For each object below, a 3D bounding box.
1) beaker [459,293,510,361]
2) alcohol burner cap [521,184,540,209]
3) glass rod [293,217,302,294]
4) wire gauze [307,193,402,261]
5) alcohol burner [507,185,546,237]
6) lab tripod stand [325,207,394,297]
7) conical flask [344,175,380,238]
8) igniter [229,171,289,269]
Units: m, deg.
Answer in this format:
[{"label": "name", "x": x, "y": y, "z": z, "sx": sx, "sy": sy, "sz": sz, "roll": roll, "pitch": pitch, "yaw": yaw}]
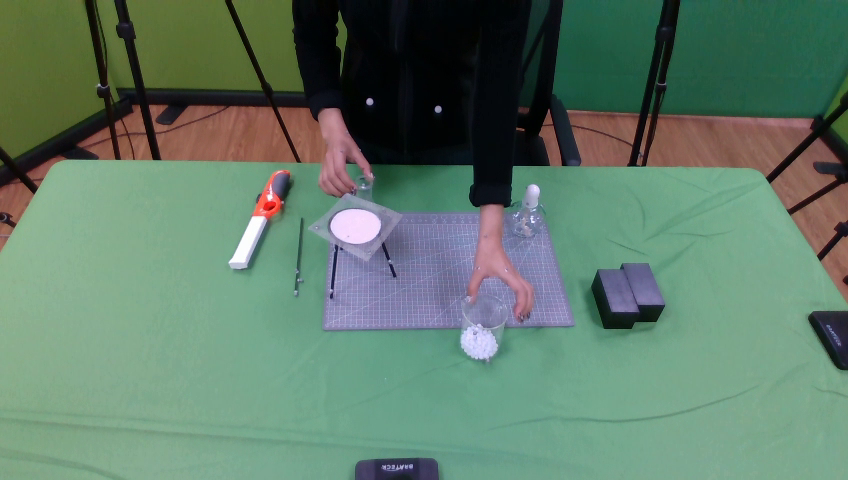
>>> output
[{"label": "beaker", "x": 0.094, "y": 0.147, "z": 1.012, "sx": 0.083, "sy": 0.101, "sz": 0.074, "roll": 26, "pitch": 49, "yaw": 21}, {"label": "alcohol burner cap", "x": 0.210, "y": -0.087, "z": 1.183, "sx": 0.034, "sy": 0.048, "sz": 0.033, "roll": 2, "pitch": 51, "yaw": -2}, {"label": "glass rod", "x": -0.242, "y": 0.025, "z": 1.167, "sx": 0.008, "sy": 0.008, "sz": 0.198, "roll": -2, "pitch": 47, "yaw": -5}, {"label": "wire gauze", "x": -0.119, "y": -0.028, "z": 1.043, "sx": 0.125, "sy": 0.011, "sz": 0.121, "roll": 24, "pitch": 47, "yaw": 17}, {"label": "alcohol burner", "x": 0.208, "y": -0.063, "z": 1.210, "sx": 0.078, "sy": 0.119, "sz": 0.077, "roll": 3, "pitch": 44, "yaw": -3}, {"label": "lab tripod stand", "x": -0.124, "y": 0.017, "z": 1.092, "sx": 0.148, "sy": 0.132, "sz": 0.147, "roll": 3, "pitch": 44, "yaw": -3}, {"label": "conical flask", "x": -0.122, "y": -0.068, "z": 1.177, "sx": 0.075, "sy": 0.122, "sz": 0.075, "roll": 3, "pitch": 45, "yaw": -3}, {"label": "igniter", "x": -0.328, "y": -0.049, "z": 1.218, "sx": 0.057, "sy": 0.025, "sz": 0.275, "roll": 1, "pitch": 45, "yaw": 11}]
